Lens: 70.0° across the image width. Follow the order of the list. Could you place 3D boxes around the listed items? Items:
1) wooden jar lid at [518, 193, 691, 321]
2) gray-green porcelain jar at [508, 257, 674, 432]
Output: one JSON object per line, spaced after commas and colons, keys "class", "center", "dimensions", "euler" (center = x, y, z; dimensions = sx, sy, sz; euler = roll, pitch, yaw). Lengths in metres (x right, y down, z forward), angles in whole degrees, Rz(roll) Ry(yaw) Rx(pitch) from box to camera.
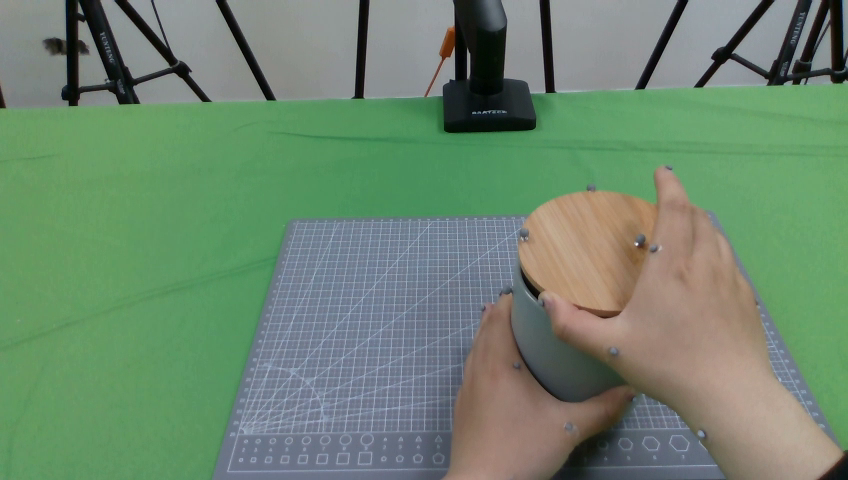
{"class": "wooden jar lid", "center": [0.115, 0.012, 0.395], "dimensions": [0.108, 0.021, 0.107], "euler": [-4, 44, 4]}
{"class": "gray-green porcelain jar", "center": [0.115, 0.068, 0.441], "dimensions": [0.106, 0.127, 0.105], "euler": [-2, 41, 2]}
